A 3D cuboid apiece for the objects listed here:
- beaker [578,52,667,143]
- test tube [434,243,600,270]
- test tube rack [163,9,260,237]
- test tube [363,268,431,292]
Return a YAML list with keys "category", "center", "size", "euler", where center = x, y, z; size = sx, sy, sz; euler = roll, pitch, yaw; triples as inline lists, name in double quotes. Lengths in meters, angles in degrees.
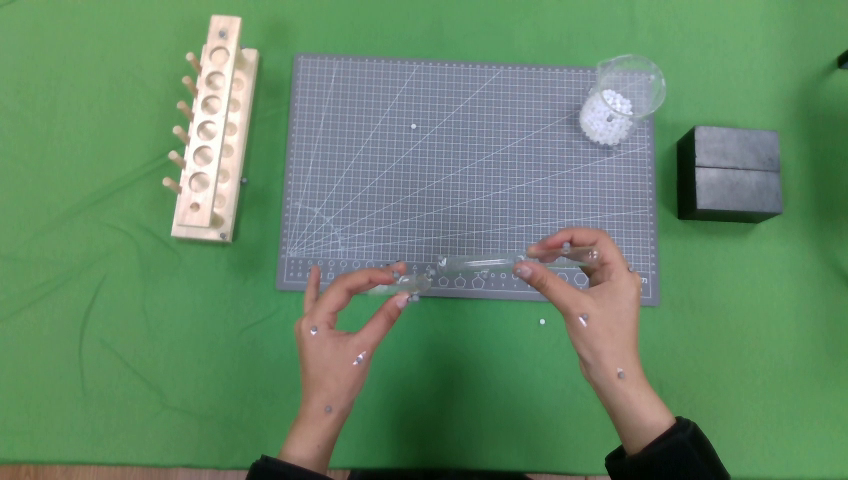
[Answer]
- category: "beaker"
  center: [0.223, -0.162, 0.706]
  size: [0.084, 0.100, 0.074]
  euler: [39, 80, 7]
- category: "test tube"
  center: [0.074, 0.015, 0.512]
  size: [0.150, 0.017, 0.017]
  euler: [-5, 76, 33]
- category: "test tube rack"
  center: [-0.247, -0.132, 0.693]
  size: [0.067, 0.085, 0.241]
  euler: [6, 79, -1]
- category: "test tube"
  center: [-0.028, 0.037, 0.533]
  size: [0.017, 0.150, 0.017]
  euler: [2, 83, -21]
